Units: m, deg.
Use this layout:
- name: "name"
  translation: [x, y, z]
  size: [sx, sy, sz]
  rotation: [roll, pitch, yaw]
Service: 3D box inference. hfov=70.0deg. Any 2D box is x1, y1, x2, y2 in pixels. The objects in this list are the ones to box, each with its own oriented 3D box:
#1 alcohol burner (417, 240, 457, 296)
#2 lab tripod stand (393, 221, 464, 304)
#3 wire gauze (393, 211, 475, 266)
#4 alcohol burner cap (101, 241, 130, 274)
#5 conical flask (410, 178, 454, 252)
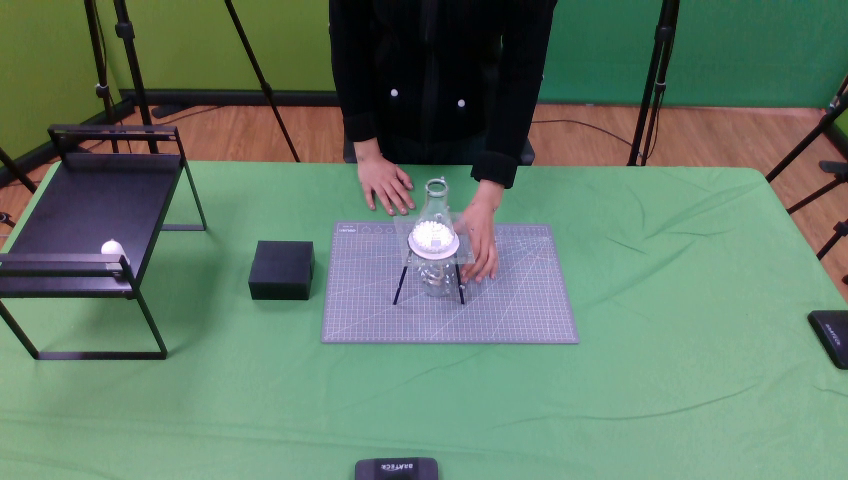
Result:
- name: "alcohol burner"
  translation: [0.025, 0.046, 1.089]
  size: [0.078, 0.120, 0.077]
  rotation: [1, 46, 0]
- name: "lab tripod stand"
  translation: [0.009, 0.045, 1.074]
  size: [0.148, 0.132, 0.147]
  rotation: [2, 48, -2]
- name: "wire gauze"
  translation: [0.015, -0.002, 1.029]
  size: [0.125, 0.011, 0.120]
  rotation: [-6, 45, -6]
- name: "alcohol burner cap"
  translation: [-0.449, 0.022, 0.878]
  size: [0.034, 0.048, 0.033]
  rotation: [3, 45, -2]
- name: "conical flask"
  translation: [0.017, -0.043, 0.987]
  size: [0.075, 0.122, 0.075]
  rotation: [2, 47, -2]
